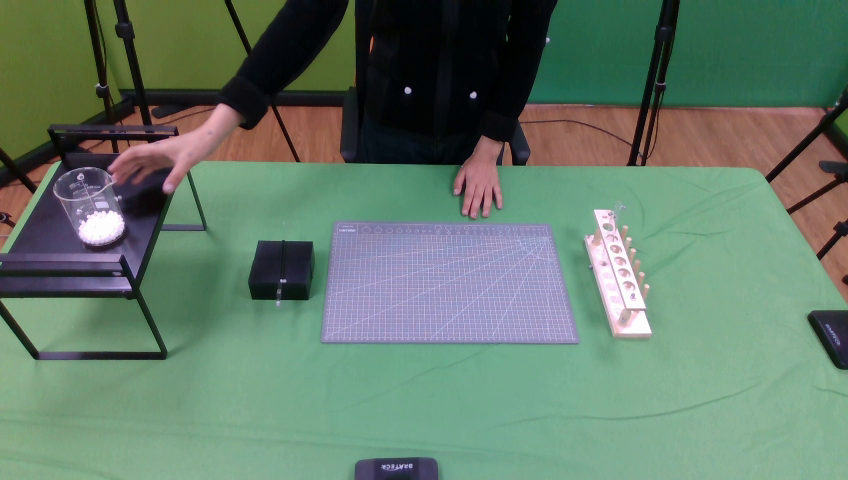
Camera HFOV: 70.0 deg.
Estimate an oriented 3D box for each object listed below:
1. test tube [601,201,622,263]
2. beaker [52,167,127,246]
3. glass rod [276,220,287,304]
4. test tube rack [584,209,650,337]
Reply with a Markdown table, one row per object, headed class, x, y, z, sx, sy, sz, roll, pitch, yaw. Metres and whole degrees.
| class | x | y | z | sx | sy | sz | roll | pitch | yaw |
| --- | --- | --- | --- | --- | --- | --- | --- | --- | --- |
| test tube | 0.346 | -0.012 | 1.123 | 0.017 | 0.151 | 0.017 | -2 | 44 | 2 |
| beaker | -0.490 | -0.048 | 0.902 | 0.084 | 0.101 | 0.073 | -15 | 49 | -18 |
| glass rod | -0.255 | 0.036 | 1.086 | 0.008 | 0.008 | 0.198 | -1 | 46 | -6 |
| test tube rack | 0.365 | 0.056 | 1.129 | 0.067 | 0.085 | 0.240 | 1 | 46 | -4 |
